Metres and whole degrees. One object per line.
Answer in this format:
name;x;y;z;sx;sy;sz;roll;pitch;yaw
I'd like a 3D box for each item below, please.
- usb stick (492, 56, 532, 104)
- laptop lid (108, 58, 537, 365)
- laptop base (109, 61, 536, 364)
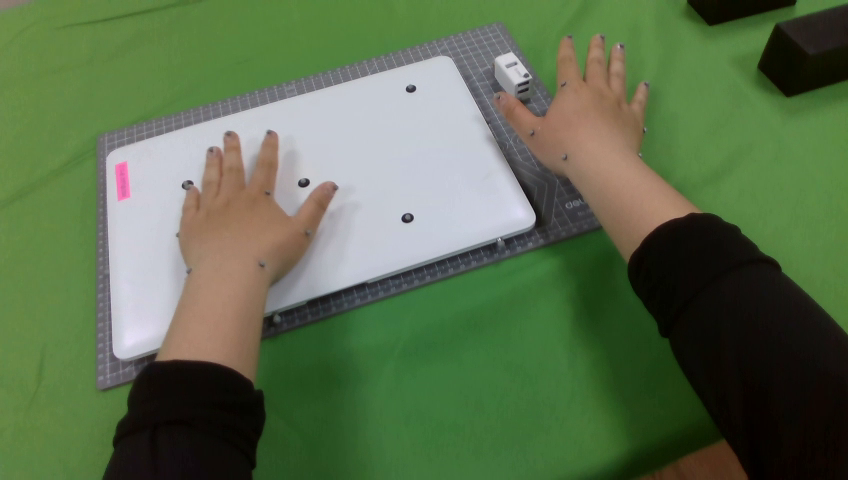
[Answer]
usb stick;0.086;-0.165;0.609;0.021;0.027;0.058;-20;50;-10
laptop lid;-0.105;-0.046;0.541;0.357;0.013;0.239;-17;57;-5
laptop base;-0.104;-0.041;0.552;0.354;0.023;0.233;-18;58;-6
